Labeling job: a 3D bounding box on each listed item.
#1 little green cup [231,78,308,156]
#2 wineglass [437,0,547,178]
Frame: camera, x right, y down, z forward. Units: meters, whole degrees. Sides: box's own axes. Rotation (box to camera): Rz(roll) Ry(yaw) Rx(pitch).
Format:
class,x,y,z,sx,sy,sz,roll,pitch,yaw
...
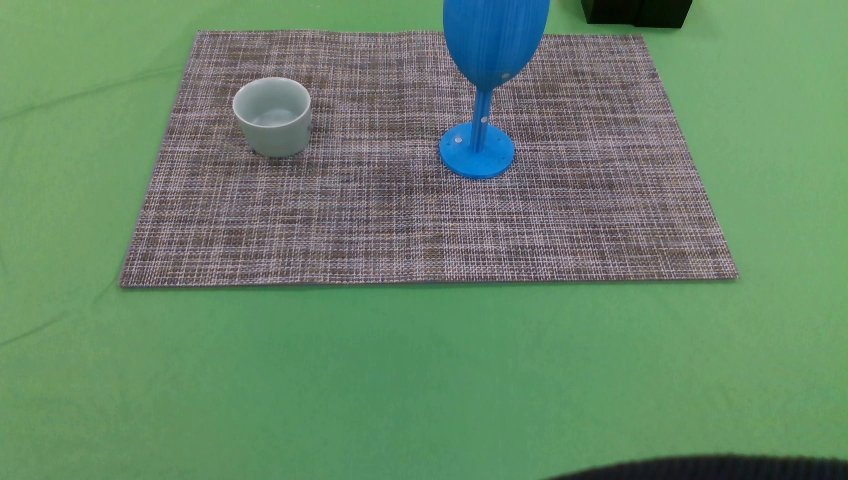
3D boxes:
class,x,y,z,sx,sy,sz,roll,pitch,yaw
little green cup,-0.125,-0.101,0.503,0.061,0.039,0.061,1,53,-1
wineglass,0.045,-0.129,0.448,0.074,0.173,0.073,1,53,-1
